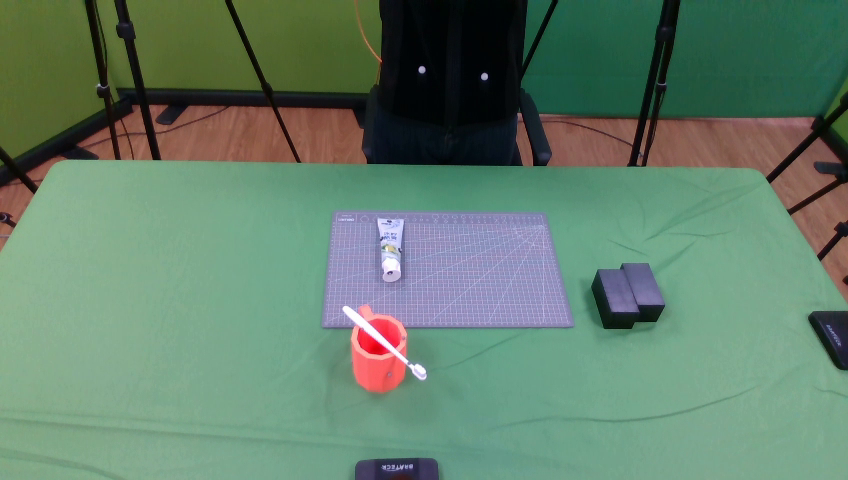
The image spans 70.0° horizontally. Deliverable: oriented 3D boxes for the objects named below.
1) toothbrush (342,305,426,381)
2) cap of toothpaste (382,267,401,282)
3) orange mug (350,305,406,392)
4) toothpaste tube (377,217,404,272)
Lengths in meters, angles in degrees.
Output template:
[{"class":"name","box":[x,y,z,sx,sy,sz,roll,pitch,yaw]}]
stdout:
[{"class":"toothbrush","box":[-0.064,0.153,0.922,0.181,0.017,0.014,36,57,27]},{"class":"cap of toothpaste","box":[-0.060,0.063,1.119,0.037,0.037,0.011,-9,50,-12]},{"class":"orange mug","box":[-0.080,0.168,0.978,0.083,0.101,0.125,-16,54,-18]},{"class":"toothpaste tube","box":[-0.063,0.008,1.179,0.055,0.034,0.164,5,42,-9]}]
